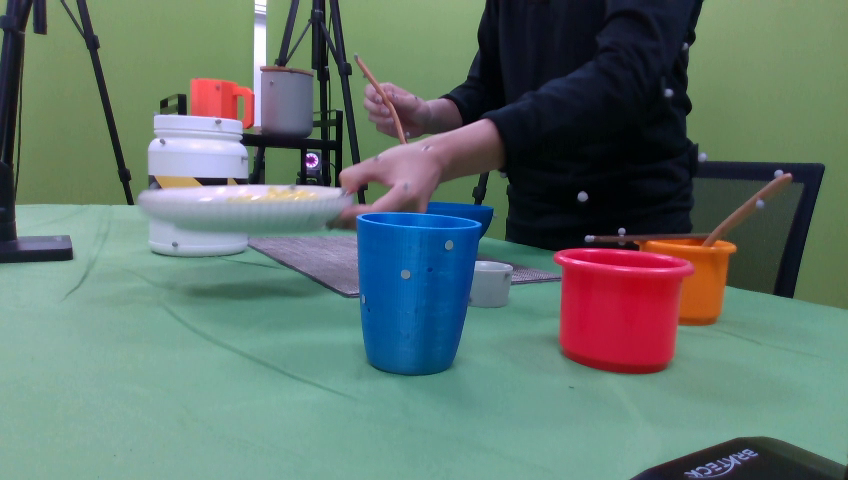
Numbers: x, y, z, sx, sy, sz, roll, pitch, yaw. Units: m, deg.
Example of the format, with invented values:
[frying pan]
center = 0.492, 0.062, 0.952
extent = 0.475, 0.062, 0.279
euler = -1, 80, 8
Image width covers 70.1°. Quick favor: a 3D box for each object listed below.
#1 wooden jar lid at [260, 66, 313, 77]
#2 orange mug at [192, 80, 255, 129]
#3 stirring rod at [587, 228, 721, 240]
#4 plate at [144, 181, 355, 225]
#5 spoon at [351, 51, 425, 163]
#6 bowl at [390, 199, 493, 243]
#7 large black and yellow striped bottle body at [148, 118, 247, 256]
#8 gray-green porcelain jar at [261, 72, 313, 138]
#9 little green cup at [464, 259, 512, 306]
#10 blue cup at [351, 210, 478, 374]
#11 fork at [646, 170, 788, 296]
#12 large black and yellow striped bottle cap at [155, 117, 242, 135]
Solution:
[wooden jar lid]
center = -0.283, -0.339, 1.244
extent = 0.108, 0.020, 0.108
euler = 6, 8, -1
[orange mug]
center = -0.389, -0.257, 1.172
extent = 0.126, 0.100, 0.083
euler = -1, 6, 9
[stirring rod]
center = 0.227, -0.007, 0.586
extent = 0.177, 0.006, 0.014
euler = -2, 11, -29
[plate]
center = -0.175, -0.040, 0.627
extent = 0.209, 0.038, 0.209
euler = 1, 7, 0
[spoon]
center = -0.053, -0.196, 0.893
extent = 0.021, 0.193, 0.041
euler = -28, 0, 10
[bowl]
center = 0.023, -0.016, 0.874
extent = 0.151, 0.077, 0.151
euler = 3, 7, 0
[large black and yellow striped bottle body]
center = -0.318, -0.076, 0.855
extent = 0.131, 0.184, 0.130
euler = 2, 7, 0
[gray-green porcelain jar]
center = -0.284, -0.277, 1.253
extent = 0.106, 0.126, 0.106
euler = 2, 8, 0
[little green cup]
center = 0.057, 0.043, 0.611
extent = 0.061, 0.038, 0.061
euler = 3, 8, 0
[blue cup]
center = -0.009, 0.034, 0.414
extent = 0.093, 0.100, 0.092
euler = 4, 8, 0
[fork]
center = 0.256, 0.004, 0.543
extent = 0.028, 0.018, 0.207
euler = 2, -36, -10
[large black and yellow striped bottle cap]
center = -0.313, -0.159, 0.845
extent = 0.115, 0.019, 0.115
euler = 3, 9, 0
